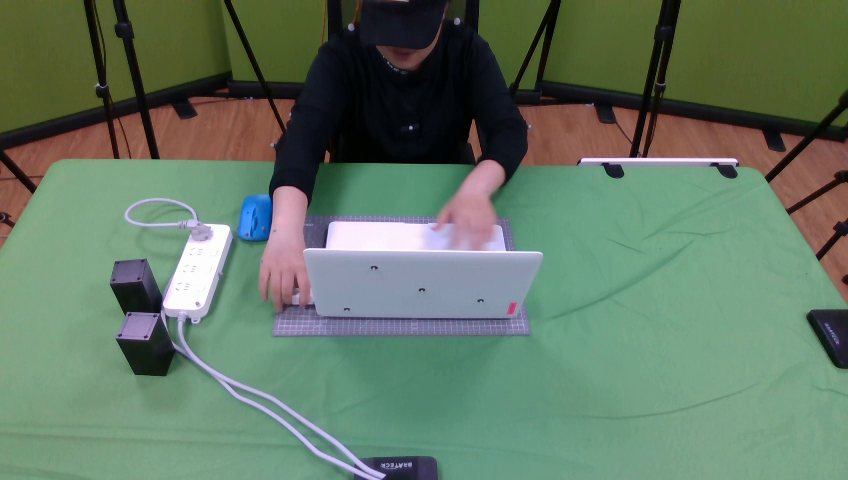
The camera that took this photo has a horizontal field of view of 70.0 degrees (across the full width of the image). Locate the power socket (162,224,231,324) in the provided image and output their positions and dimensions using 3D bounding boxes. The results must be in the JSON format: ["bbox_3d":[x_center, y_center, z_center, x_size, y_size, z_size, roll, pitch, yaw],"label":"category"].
[{"bbox_3d":[-0.411,0.052,1.106,0.072,0.033,0.225,3,46,-2],"label":"power socket"}]

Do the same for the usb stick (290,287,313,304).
[{"bbox_3d":[-0.205,0.099,1.069,0.059,0.027,0.021,4,46,-8],"label":"usb stick"}]

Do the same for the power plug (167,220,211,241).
[{"bbox_3d":[-0.438,-0.017,1.143,0.072,0.053,0.035,9,43,7],"label":"power plug"}]

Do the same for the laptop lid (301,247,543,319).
[{"bbox_3d":[-0.006,0.075,0.963,0.357,0.242,0.013,2,58,-4],"label":"laptop lid"}]

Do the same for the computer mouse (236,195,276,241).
[{"bbox_3d":[-0.334,-0.048,1.206,0.063,0.041,0.116,2,50,-4],"label":"computer mouse"}]

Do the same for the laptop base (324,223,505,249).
[{"bbox_3d":[-0.016,0.054,1.146,0.354,0.023,0.234,1,43,-3],"label":"laptop base"}]
